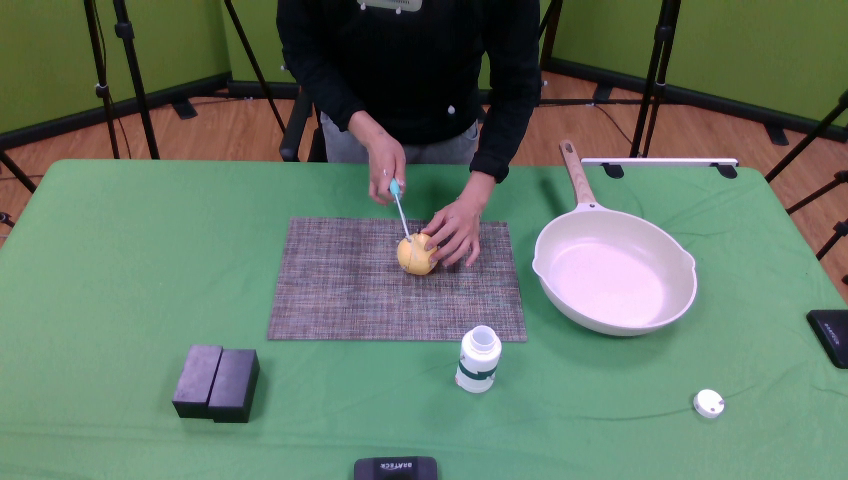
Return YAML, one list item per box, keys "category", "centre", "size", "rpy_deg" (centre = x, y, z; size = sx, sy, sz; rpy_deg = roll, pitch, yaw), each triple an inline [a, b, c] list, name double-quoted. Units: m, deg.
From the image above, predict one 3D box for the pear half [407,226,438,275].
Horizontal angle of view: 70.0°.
- category: "pear half"
  centre: [0.000, 0.015, 1.117]
  size: [0.056, 0.110, 0.076]
  rpy_deg: [4, 50, -1]

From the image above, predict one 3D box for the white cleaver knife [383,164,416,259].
- category: "white cleaver knife"
  centre: [-0.046, -0.058, 1.098]
  size: [0.021, 0.066, 0.284]
  rpy_deg: [-17, 33, 1]

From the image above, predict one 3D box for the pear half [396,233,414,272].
- category: "pear half"
  centre: [-0.037, 0.019, 1.125]
  size: [0.031, 0.088, 0.070]
  rpy_deg: [4, 49, -1]

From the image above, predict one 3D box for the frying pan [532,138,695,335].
- category: "frying pan"
  centre: [0.336, -0.024, 1.190]
  size: [0.307, 0.103, 0.484]
  rpy_deg: [-2, 55, -7]

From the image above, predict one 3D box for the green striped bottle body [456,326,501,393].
- category: "green striped bottle body"
  centre: [0.086, 0.185, 0.959]
  size: [0.063, 0.120, 0.063]
  rpy_deg: [2, 46, -2]

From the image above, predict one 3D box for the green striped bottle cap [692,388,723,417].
- category: "green striped bottle cap"
  centre: [0.460, 0.263, 0.984]
  size: [0.044, 0.020, 0.044]
  rpy_deg: [3, 46, -3]
